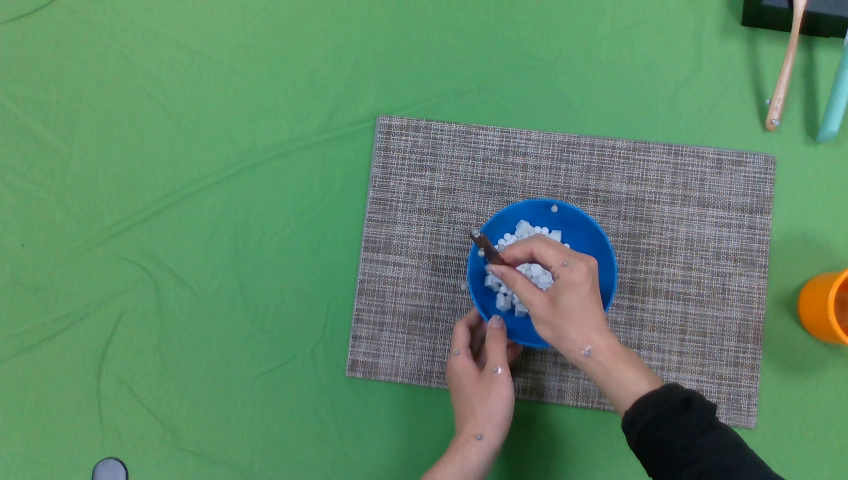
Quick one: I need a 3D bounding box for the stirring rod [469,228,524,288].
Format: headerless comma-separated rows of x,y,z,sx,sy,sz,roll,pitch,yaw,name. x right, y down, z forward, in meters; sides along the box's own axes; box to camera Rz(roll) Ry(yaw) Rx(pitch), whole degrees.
0.072,0.021,0.577,0.014,0.178,0.006,2,72,22,stirring rod

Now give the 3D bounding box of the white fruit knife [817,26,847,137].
0.455,-0.214,0.645,0.016,0.027,0.208,7,102,0,white fruit knife

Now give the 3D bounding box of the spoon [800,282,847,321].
0.479,0.069,0.591,0.022,0.192,0.041,11,85,-41,spoon

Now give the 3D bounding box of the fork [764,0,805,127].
0.394,-0.226,0.649,0.028,0.018,0.208,4,105,0,fork

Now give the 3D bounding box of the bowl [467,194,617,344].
0.119,0.032,0.639,0.151,0.077,0.151,0,85,3,bowl
